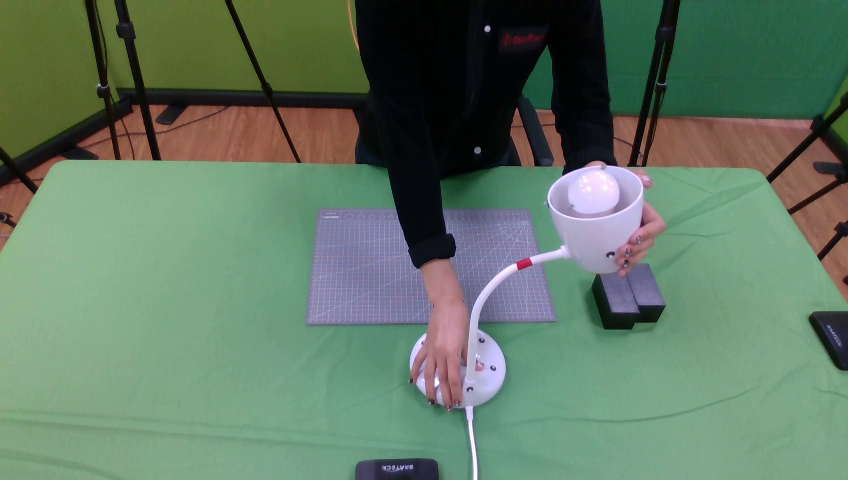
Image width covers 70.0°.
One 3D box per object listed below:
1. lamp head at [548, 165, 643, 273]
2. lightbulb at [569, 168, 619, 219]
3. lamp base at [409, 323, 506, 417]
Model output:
[{"bbox_3d":[0.215,-0.016,0.760,0.112,0.123,0.112,-8,37,6],"label":"lamp head"},{"bbox_3d":[0.214,-0.039,0.750,0.059,0.108,0.059,-14,32,9],"label":"lightbulb"},{"bbox_3d":[0.063,0.160,0.941,0.161,0.181,0.178,-10,50,-13],"label":"lamp base"}]
